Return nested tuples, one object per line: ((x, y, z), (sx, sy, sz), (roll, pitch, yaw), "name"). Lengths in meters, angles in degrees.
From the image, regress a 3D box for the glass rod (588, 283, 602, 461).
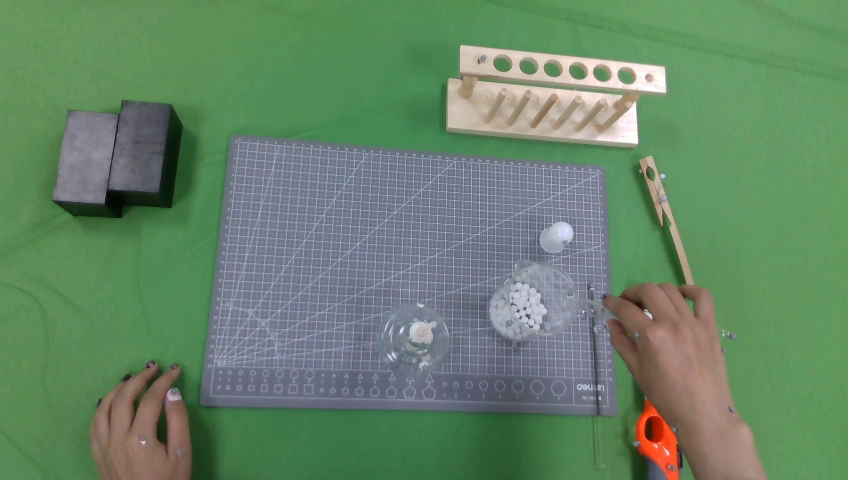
((0.193, 0.147, 0.688), (0.008, 0.008, 0.198), (3, 76, -8), "glass rod")

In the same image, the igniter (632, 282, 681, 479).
((0.259, 0.184, 0.683), (0.057, 0.025, 0.275), (6, 76, -18), "igniter")

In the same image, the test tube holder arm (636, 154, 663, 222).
((0.282, -0.065, 0.752), (0.010, 0.015, 0.087), (-20, 80, 21), "test tube holder arm")

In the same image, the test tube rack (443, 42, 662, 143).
((0.150, -0.171, 0.721), (0.243, 0.085, 0.066), (3, 76, -8), "test tube rack")

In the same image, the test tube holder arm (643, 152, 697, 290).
((0.300, -0.024, 0.742), (0.013, 0.015, 0.177), (-21, 79, 21), "test tube holder arm")

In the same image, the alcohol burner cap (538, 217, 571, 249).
((0.154, -0.010, 0.703), (0.034, 0.048, 0.033), (2, 76, -7), "alcohol burner cap")

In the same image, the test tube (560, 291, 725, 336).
((0.205, 0.070, 0.574), (0.150, 0.017, 0.017), (10, 74, 13), "test tube")

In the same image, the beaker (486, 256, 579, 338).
((0.109, 0.064, 0.648), (0.074, 0.100, 0.083), (-29, 81, -15), "beaker")

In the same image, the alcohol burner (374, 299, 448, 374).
((-0.011, 0.095, 0.614), (0.078, 0.119, 0.077), (2, 74, -7), "alcohol burner")
